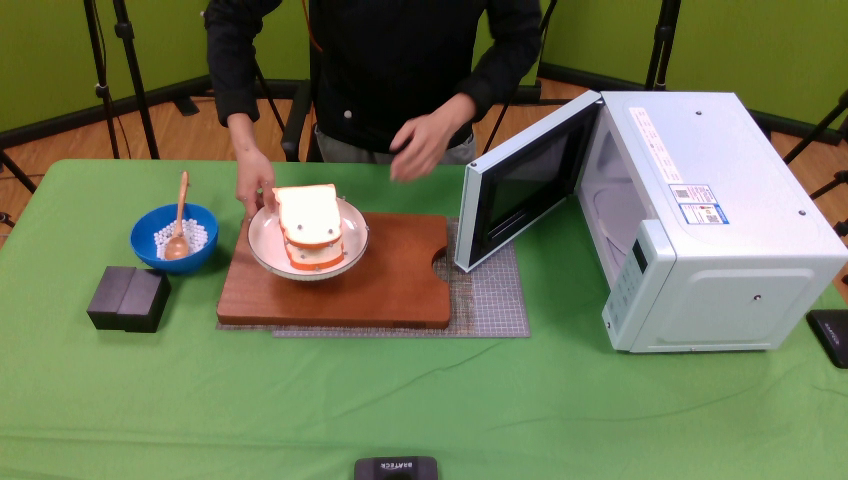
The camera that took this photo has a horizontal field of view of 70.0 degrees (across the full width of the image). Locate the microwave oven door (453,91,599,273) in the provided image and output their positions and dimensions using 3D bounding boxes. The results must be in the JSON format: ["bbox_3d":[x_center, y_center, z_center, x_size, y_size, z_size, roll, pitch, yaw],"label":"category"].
[{"bbox_3d":[0.198,-0.115,1.153,0.356,0.245,0.039,-34,57,-31],"label":"microwave oven door"}]

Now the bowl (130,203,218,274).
[{"bbox_3d":[-0.451,0.009,1.116,0.151,0.077,0.150,3,45,-3],"label":"bowl"}]

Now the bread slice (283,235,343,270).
[{"bbox_3d":[-0.195,0.000,1.069,0.105,0.019,0.130,-9,46,-15],"label":"bread slice"}]

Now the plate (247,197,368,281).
[{"bbox_3d":[-0.203,-0.002,1.068,0.208,0.039,0.206,5,45,-5],"label":"plate"}]

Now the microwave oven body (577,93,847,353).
[{"bbox_3d":[0.475,-0.041,1.109,0.326,0.261,0.438,-1,45,-4],"label":"microwave oven body"}]

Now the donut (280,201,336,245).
[{"bbox_3d":[-0.201,-0.028,1.053,0.099,0.048,0.098,1,41,-1],"label":"donut"}]

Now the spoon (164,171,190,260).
[{"bbox_3d":[-0.452,-0.046,1.129,0.041,0.022,0.193,-1,68,-3],"label":"spoon"}]

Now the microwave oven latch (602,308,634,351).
[{"bbox_3d":[0.332,0.153,1.044,0.030,0.029,0.078,-1,45,-4],"label":"microwave oven latch"}]

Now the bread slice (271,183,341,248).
[{"bbox_3d":[-0.194,-0.043,1.028,0.107,0.018,0.133,-9,53,-20],"label":"bread slice"}]
